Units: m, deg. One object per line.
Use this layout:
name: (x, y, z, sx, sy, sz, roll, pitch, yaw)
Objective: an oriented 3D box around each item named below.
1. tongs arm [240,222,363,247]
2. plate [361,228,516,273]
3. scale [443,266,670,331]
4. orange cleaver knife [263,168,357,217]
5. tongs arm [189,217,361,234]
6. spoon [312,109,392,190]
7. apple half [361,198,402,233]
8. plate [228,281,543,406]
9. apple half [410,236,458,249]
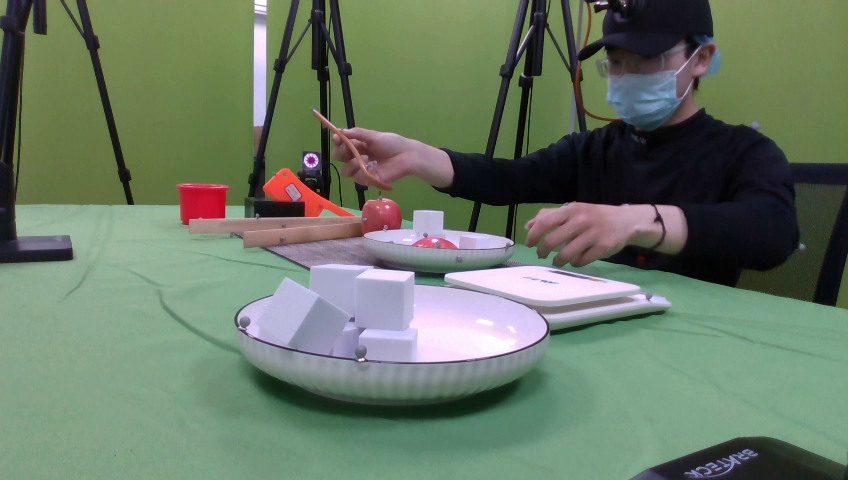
tongs arm: (-0.159, -0.017, 1.033, 0.028, 0.028, 0.389, 2, 5, 33)
plate: (0.019, 0.013, 0.818, 0.209, 0.038, 0.209, 2, 7, 0)
scale: (0.131, 0.052, 0.603, 0.202, 0.031, 0.148, -2, 9, -37)
orange cleaver knife: (-0.240, -0.077, 1.294, 0.212, 0.077, 0.012, 32, -7, -26)
tongs arm: (-0.220, -0.027, 1.088, 0.387, 0.026, 0.050, -3, 8, -43)
spoon: (-0.113, -0.141, 0.932, 0.193, 0.021, 0.042, 51, 7, 20)
apple half: (-0.066, -0.033, 1.014, 0.053, 0.074, 0.081, 10, 6, 21)
plate: (-0.025, 0.067, 0.413, 0.208, 0.039, 0.207, 3, 7, 0)
apple half: (0.014, 0.011, 0.796, 0.081, 0.033, 0.081, 1, 10, 0)
